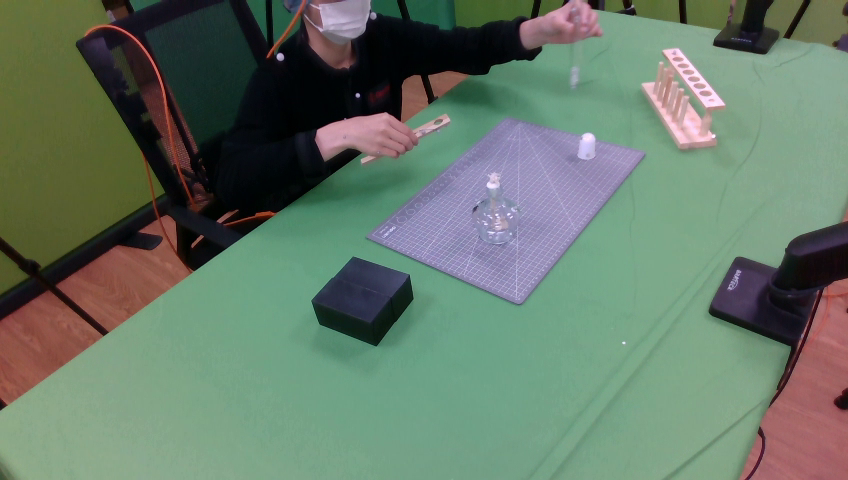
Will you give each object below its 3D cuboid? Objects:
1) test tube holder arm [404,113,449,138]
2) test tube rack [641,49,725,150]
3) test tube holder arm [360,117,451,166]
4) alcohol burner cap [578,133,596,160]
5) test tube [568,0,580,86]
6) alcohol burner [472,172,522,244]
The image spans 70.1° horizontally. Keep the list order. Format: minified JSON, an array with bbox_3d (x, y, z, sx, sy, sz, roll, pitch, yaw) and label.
[{"bbox_3d":[0.004,-0.201,1.076,0.088,0.015,0.010,-30,79,-12],"label":"test tube holder arm"},{"bbox_3d":[0.495,-0.279,1.175,0.067,0.085,0.241,-5,41,3],"label":"test tube rack"},{"bbox_3d":[-0.032,-0.175,1.066,0.179,0.015,0.013,-29,79,-12],"label":"test tube holder arm"},{"bbox_3d":[0.301,-0.174,1.111,0.034,0.048,0.033,-5,40,4],"label":"alcohol burner cap"},{"bbox_3d":[0.257,-0.338,1.036,0.017,0.151,0.017,-4,35,4],"label":"test tube"},{"bbox_3d":[0.112,-0.053,0.942,0.078,0.119,0.077,-6,40,6],"label":"alcohol burner"}]
